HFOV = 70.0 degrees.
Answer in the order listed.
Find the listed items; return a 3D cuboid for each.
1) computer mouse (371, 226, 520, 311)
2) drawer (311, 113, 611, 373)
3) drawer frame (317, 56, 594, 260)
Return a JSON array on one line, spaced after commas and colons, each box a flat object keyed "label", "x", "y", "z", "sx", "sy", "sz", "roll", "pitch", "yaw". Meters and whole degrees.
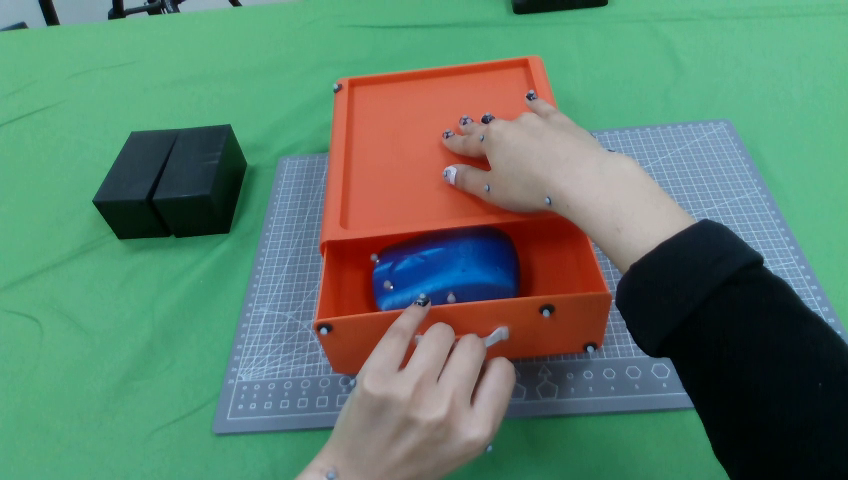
[{"label": "computer mouse", "x": 0.015, "y": 0.023, "z": 0.470, "sx": 0.117, "sy": 0.041, "sz": 0.062, "roll": -7, "pitch": 49, "yaw": 7}, {"label": "drawer", "x": 0.022, "y": -0.008, "z": 0.476, "sx": 0.194, "sy": 0.074, "sz": 0.209, "roll": -6, "pitch": 48, "yaw": 3}, {"label": "drawer frame", "x": 0.020, "y": -0.059, "z": 0.523, "sx": 0.201, "sy": 0.083, "sz": 0.211, "roll": -7, "pitch": 47, "yaw": 2}]
